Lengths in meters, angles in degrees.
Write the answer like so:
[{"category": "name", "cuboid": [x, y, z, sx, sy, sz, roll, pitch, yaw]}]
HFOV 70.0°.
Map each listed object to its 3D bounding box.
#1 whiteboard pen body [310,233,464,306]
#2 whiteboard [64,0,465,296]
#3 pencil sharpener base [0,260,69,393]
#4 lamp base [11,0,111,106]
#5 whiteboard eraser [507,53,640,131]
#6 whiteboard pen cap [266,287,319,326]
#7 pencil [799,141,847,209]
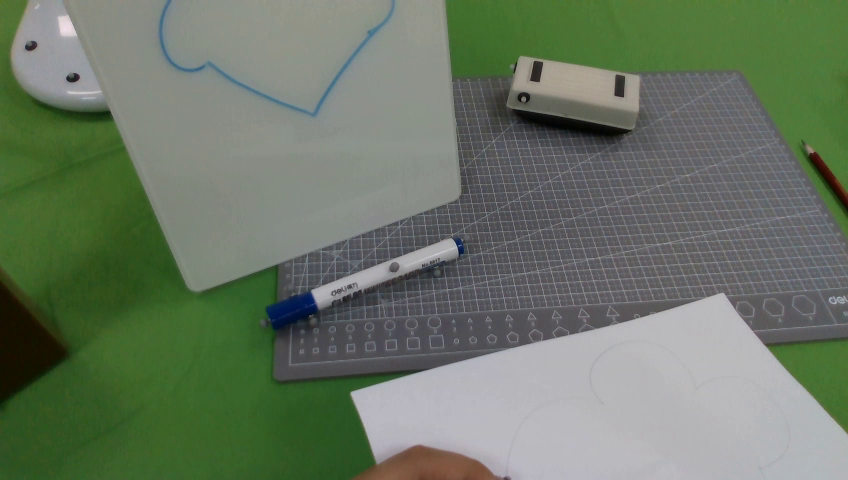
[{"category": "whiteboard pen body", "cuboid": [-0.035, 0.024, 0.425, 0.141, 0.017, 0.017, -20, 57, -17]}, {"category": "whiteboard", "cuboid": [-0.109, -0.154, 0.416, 0.217, 0.308, 0.142, -21, 38, -17]}, {"category": "pencil sharpener base", "cuboid": [-0.272, 0.043, 0.346, 0.061, 0.108, 0.076, 37, 60, 21]}, {"category": "lamp base", "cuboid": [-0.296, -0.231, 0.499, 0.178, 0.182, 0.160, 30, 57, 20]}, {"category": "whiteboard eraser", "cuboid": [0.133, -0.131, 0.541, 0.112, 0.042, 0.055, 12, 55, 5]}, {"category": "whiteboard pen cap", "cuboid": [-0.088, 0.044, 0.408, 0.033, 0.018, 0.018, -22, 58, -17]}, {"category": "pencil", "cuboid": [0.362, -0.016, 0.499, 0.012, 0.012, 0.192, -6, 52, -8]}]
